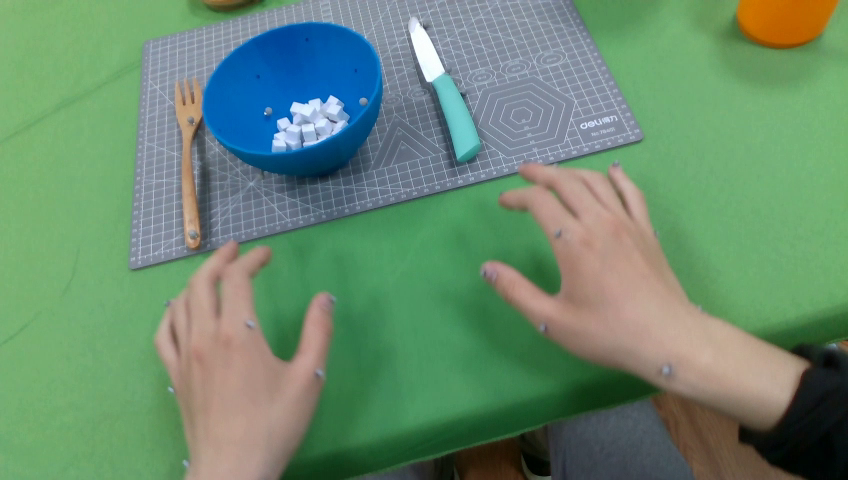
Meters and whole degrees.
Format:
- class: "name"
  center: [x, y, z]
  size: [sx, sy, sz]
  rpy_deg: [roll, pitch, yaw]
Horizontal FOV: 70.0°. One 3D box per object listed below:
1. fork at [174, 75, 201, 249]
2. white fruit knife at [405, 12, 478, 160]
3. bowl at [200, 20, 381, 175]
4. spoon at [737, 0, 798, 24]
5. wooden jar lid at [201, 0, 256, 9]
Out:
- class: "fork"
  center: [-0.217, -0.078, 0.558]
  size: [0.028, 0.019, 0.205]
  rpy_deg: [-11, 56, -7]
- class: "white fruit knife"
  center: [0.012, -0.153, 0.569]
  size: [0.027, 0.016, 0.205]
  rpy_deg: [-10, 57, -13]
- class: "bowl"
  center: [-0.104, -0.109, 0.525]
  size: [0.151, 0.077, 0.150]
  rpy_deg: [-4, 59, 7]
- class: "spoon"
  center: [0.354, -0.246, 0.497]
  size: [0.022, 0.194, 0.041]
  rpy_deg: [15, 55, -35]
- class: "wooden jar lid"
  center: [-0.217, -0.305, 0.697]
  size: [0.108, 0.021, 0.107]
  rpy_deg: [-3, 59, 5]
